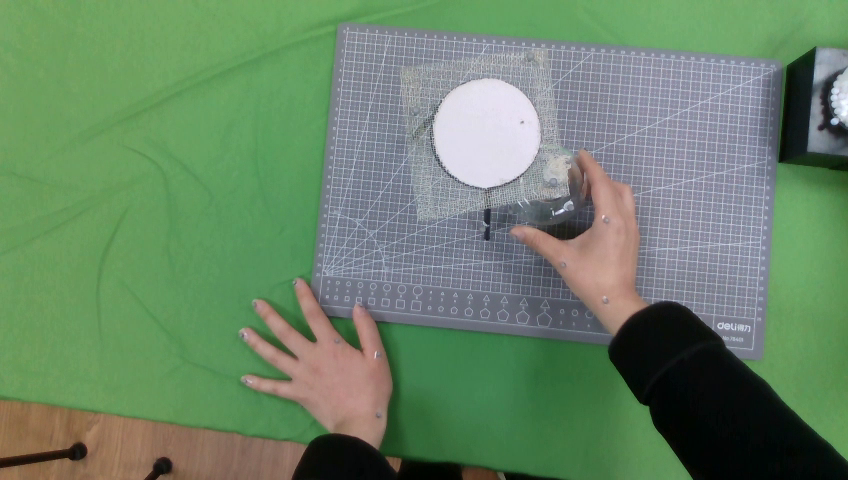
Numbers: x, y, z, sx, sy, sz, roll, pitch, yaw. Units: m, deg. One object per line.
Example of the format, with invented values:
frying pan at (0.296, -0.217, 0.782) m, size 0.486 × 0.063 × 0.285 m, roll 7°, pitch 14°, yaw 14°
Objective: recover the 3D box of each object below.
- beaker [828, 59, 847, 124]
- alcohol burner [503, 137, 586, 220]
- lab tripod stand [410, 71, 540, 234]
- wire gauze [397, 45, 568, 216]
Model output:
beaker at (0.401, -0.140, 0.507) m, size 0.074 × 0.100 × 0.084 m, roll 16°, pitch 87°, yaw 3°
alcohol burner at (0.112, -0.059, 0.552) m, size 0.078 × 0.119 × 0.077 m, roll 0°, pitch 85°, yaw 3°
lab tripod stand at (0.051, -0.082, 0.544) m, size 0.148 × 0.131 × 0.148 m, roll 0°, pitch 88°, yaw 0°
wire gauze at (0.045, -0.088, 0.478) m, size 0.121 × 0.011 × 0.125 m, roll -8°, pitch 89°, yaw 0°
